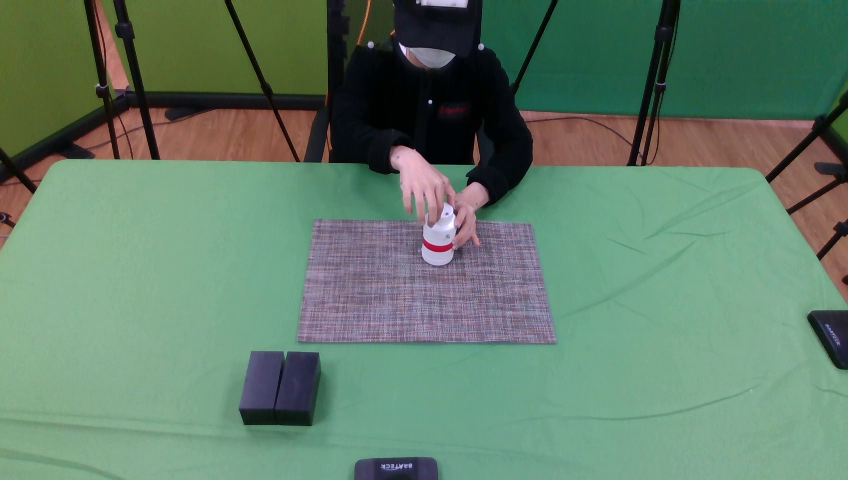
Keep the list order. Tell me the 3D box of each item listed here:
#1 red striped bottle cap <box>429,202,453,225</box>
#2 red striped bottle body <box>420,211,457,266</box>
[{"bbox_3d":[0.031,-0.050,1.101,0.044,0.018,0.044,-1,49,1],"label":"red striped bottle cap"},{"bbox_3d":[0.027,-0.012,1.139,0.063,0.120,0.062,2,45,-2],"label":"red striped bottle body"}]
